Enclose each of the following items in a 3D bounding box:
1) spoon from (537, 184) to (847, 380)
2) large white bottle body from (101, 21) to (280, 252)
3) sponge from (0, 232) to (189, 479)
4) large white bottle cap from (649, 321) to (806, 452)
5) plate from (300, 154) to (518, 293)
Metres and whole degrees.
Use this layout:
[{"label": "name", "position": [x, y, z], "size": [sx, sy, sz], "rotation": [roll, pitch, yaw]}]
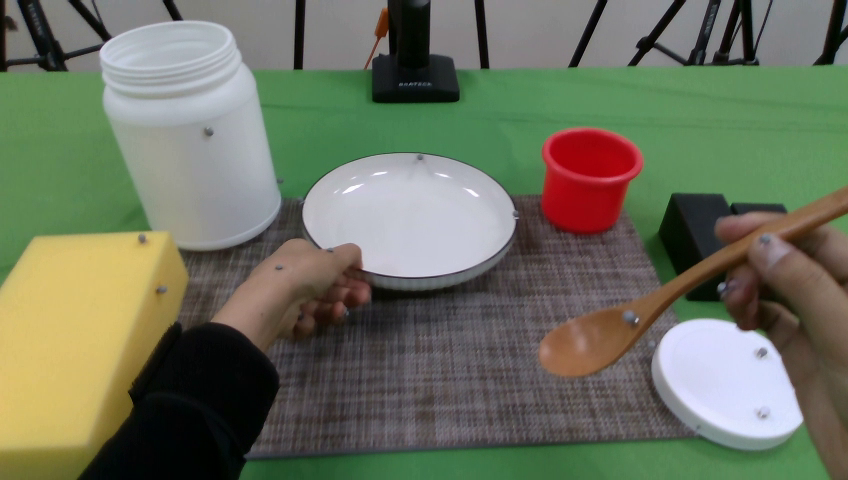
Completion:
[{"label": "spoon", "position": [0.134, 0.018, 0.290], "size": [0.022, 0.194, 0.041], "rotation": [37, 34, -21]}, {"label": "large white bottle body", "position": [-0.215, -0.096, 0.570], "size": [0.130, 0.186, 0.129], "rotation": [0, 39, 1]}, {"label": "sponge", "position": [-0.269, 0.083, 0.463], "size": [0.118, 0.061, 0.204], "rotation": [-3, 41, -2]}, {"label": "large white bottle cap", "position": [0.238, 0.112, 0.479], "size": [0.115, 0.018, 0.113], "rotation": [3, 42, -2]}, {"label": "plate", "position": [-0.014, -0.016, 0.593], "size": [0.209, 0.038, 0.207], "rotation": [3, 39, -2]}]
